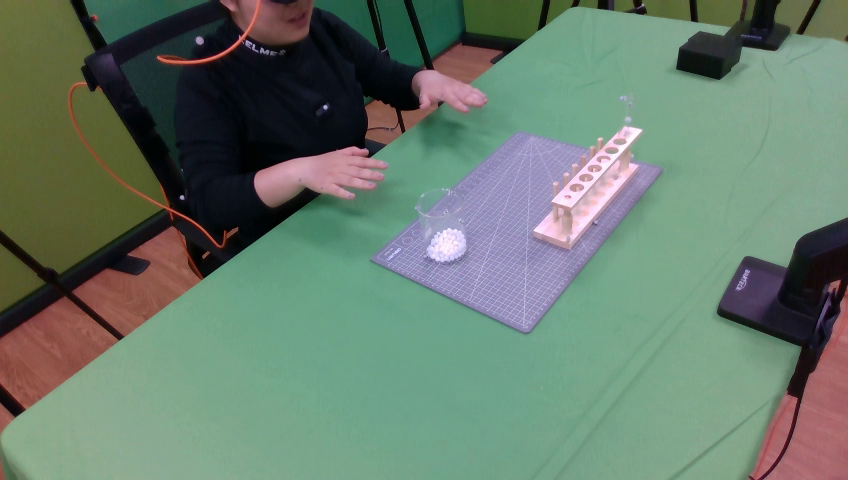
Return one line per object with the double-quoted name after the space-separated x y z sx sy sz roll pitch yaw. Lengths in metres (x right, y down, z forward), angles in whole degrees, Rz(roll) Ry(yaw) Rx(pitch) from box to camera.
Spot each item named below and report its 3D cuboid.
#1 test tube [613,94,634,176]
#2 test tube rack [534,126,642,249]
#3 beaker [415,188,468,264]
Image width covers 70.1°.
0.325 -0.168 0.989 0.017 0.151 0.017 -3 40 3 "test tube"
0.271 -0.095 0.989 0.066 0.085 0.243 23 49 33 "test tube rack"
0.031 -0.021 0.937 0.073 0.101 0.084 8 42 20 "beaker"
